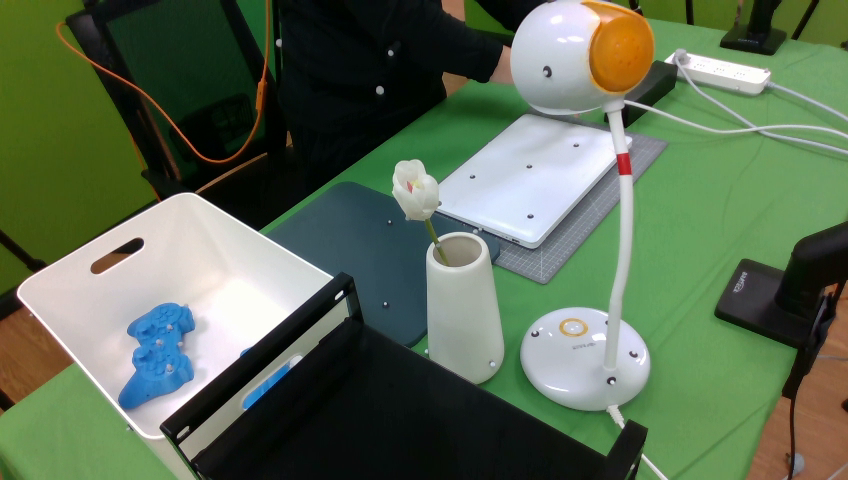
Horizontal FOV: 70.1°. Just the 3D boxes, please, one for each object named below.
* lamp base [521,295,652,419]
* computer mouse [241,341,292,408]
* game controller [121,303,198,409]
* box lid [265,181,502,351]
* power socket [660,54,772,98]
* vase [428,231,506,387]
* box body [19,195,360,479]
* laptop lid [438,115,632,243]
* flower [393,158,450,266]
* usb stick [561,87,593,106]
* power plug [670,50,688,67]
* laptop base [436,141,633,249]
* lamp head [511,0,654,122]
[{"bbox_3d":[0.201,0.095,0.710,0.161,0.181,0.178,-16,43,-10],"label":"lamp base"},{"bbox_3d":[-0.201,0.177,0.776,0.063,0.041,0.116,-11,44,-8],"label":"computer mouse"},{"bbox_3d":[-0.364,0.149,0.828,0.097,0.052,0.154,-13,41,-9],"label":"game controller"},{"bbox_3d":[-0.087,0.022,0.971,0.368,0.015,0.264,23,49,31],"label":"box lid"},{"bbox_3d":[0.618,-0.353,1.290,0.225,0.033,0.072,27,51,33],"label":"power socket"},{"bbox_3d":[0.050,0.087,0.728,0.098,0.201,0.097,-3,40,3],"label":"vase"},{"bbox_3d":[-0.288,0.118,0.772,0.361,0.161,0.255,26,50,33],"label":"box body"},{"bbox_3d":[0.189,-0.126,1.081,0.239,0.013,0.358,23,48,35],"label":"laptop lid"},{"bbox_3d":[0.028,0.036,0.664,0.043,0.364,0.038,35,73,29],"label":"flower"},{"bbox_3d":[0.287,-0.273,1.144,0.059,0.021,0.027,16,84,10],"label":"usb stick"},{"bbox_3d":[0.539,-0.380,1.303,0.073,0.053,0.035,-30,46,-22],"label":"power plug"},{"bbox_3d":[0.193,-0.116,1.087,0.233,0.023,0.355,21,47,34],"label":"laptop base"},{"bbox_3d":[0.155,-0.168,0.564,0.113,0.113,0.122,-18,23,-12],"label":"lamp head"}]
